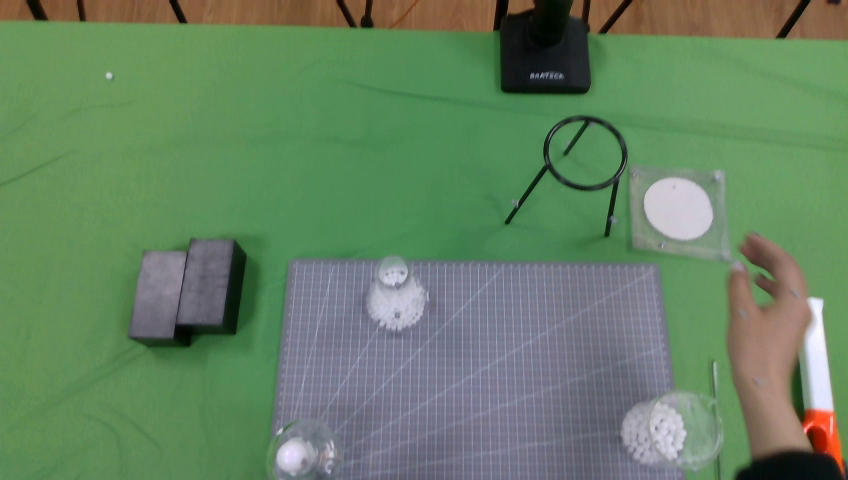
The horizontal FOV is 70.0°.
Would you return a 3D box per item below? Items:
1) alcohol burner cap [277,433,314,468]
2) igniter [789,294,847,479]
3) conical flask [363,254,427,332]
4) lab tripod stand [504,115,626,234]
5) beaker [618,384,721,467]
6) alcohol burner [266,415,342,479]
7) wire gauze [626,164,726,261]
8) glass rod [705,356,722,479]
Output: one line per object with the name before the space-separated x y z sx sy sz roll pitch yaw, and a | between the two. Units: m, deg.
alcohol burner cap | -0.123 0.200 0.572 0.034 0.048 0.033 1 73 -4
igniter | 0.435 0.195 0.669 0.057 0.025 0.274 10 70 -9
conical flask | -0.033 0.052 0.662 0.075 0.122 0.075 0 69 0
lab tripod stand | 0.168 -0.070 0.708 0.148 0.132 0.147 0 71 0
beaker | 0.250 0.192 0.627 0.084 0.101 0.073 -35 73 -13
alcohol burner | -0.123 0.213 0.606 0.078 0.120 0.077 0 69 2
wire gauze | 0.318 -0.039 0.765 0.125 0.011 0.120 7 70 0
glass rod | 0.322 0.227 0.667 0.008 0.008 0.198 5 70 1
